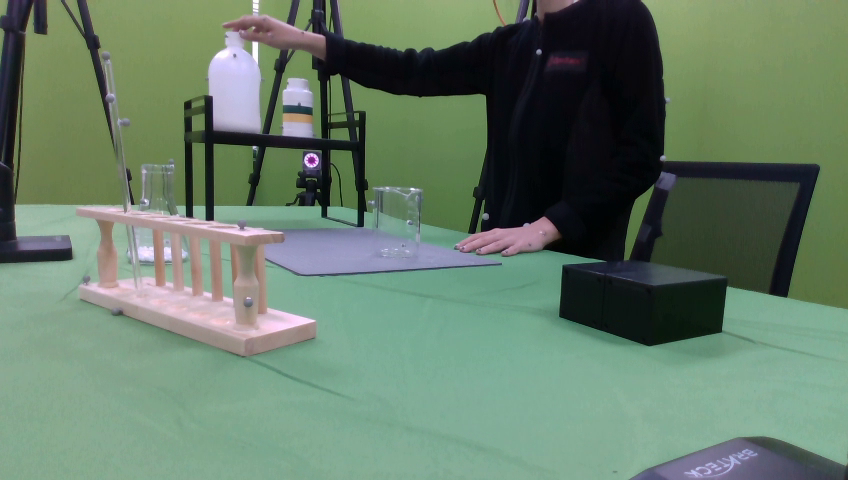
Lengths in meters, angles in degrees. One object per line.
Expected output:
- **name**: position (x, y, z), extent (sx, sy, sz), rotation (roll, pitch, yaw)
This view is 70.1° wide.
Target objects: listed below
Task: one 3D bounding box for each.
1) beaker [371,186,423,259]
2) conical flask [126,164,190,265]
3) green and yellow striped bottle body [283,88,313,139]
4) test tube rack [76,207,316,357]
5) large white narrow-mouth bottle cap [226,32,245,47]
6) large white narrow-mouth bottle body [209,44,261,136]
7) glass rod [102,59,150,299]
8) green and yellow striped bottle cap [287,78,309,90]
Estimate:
- **beaker**: position (-0.038, -0.025, 0.869), extent (0.074, 0.100, 0.083), rotation (-1, 8, -22)
- **conical flask**: position (-0.332, -0.033, 0.756), extent (0.075, 0.122, 0.075), rotation (2, 7, 0)
- **green and yellow striped bottle body**: position (-0.266, -0.275, 1.275), extent (0.063, 0.119, 0.063), rotation (2, 7, 0)
- **test tube rack**: position (-0.196, 0.023, 0.500), extent (0.241, 0.085, 0.067), rotation (8, 9, 36)
- **large white narrow-mouth bottle cap**: position (-0.368, -0.391, 1.184), extent (0.038, 0.024, 0.037), rotation (3, 8, 0)
- **large white narrow-mouth bottle body**: position (-0.373, -0.306, 1.197), extent (0.102, 0.194, 0.102), rotation (3, 8, 0)
- **glass rod**: position (-0.243, -0.045, 0.496), extent (0.008, 0.199, 0.008), rotation (-4, 13, 1)
- **green and yellow striped bottle cap**: position (-0.265, -0.326, 1.268), extent (0.045, 0.020, 0.045), rotation (4, 7, 0)
